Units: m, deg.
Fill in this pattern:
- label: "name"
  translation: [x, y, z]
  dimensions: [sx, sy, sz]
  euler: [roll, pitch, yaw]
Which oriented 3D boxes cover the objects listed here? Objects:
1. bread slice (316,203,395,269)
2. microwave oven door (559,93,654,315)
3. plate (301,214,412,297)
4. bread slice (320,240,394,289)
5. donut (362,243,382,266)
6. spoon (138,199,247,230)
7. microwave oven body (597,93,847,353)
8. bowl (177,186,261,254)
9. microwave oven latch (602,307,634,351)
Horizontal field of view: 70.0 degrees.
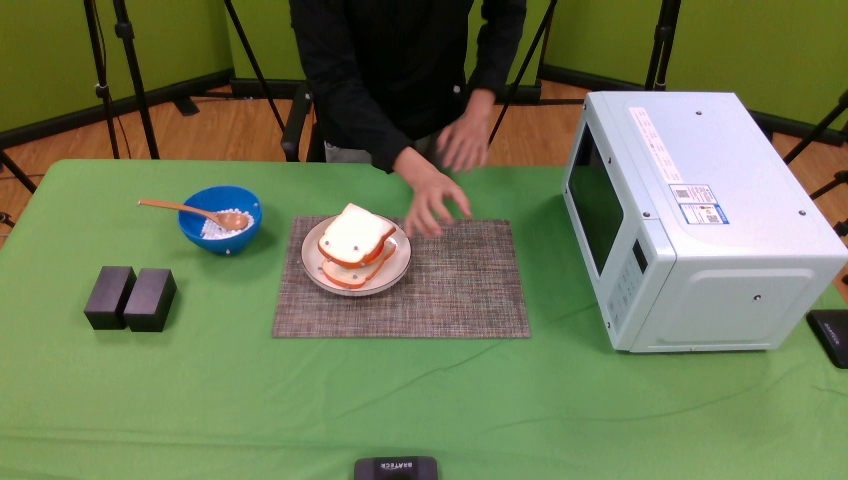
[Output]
- label: "bread slice"
  translation: [-0.128, -0.006, 1.099]
  dimensions: [0.104, 0.019, 0.131]
  euler: [28, 53, 13]
- label: "microwave oven door"
  translation: [0.327, -0.074, 1.123]
  dimensions: [0.039, 0.245, 0.353]
  euler: [-1, 46, -5]
- label: "plate"
  translation: [-0.126, 0.031, 1.146]
  dimensions: [0.208, 0.039, 0.206]
  euler: [2, 46, -2]
- label: "bread slice"
  translation: [-0.129, 0.036, 1.140]
  dimensions: [0.107, 0.018, 0.134]
  euler: [19, 48, 14]
- label: "donut"
  translation: [-0.126, 0.010, 1.127]
  dimensions: [0.099, 0.048, 0.098]
  euler: [4, 45, -3]
- label: "spoon"
  translation: [-0.431, -0.053, 1.136]
  dimensions: [0.194, 0.022, 0.041]
  euler: [15, 48, -20]
- label: "microwave oven body"
  translation: [0.475, -0.041, 1.109]
  dimensions: [0.326, 0.261, 0.438]
  euler: [-1, 45, -4]
- label: "bowl"
  translation: [-0.383, -0.026, 1.157]
  dimensions: [0.151, 0.077, 0.150]
  euler: [2, 46, -2]
- label: "microwave oven latch"
  translation: [0.332, 0.153, 1.043]
  dimensions: [0.030, 0.029, 0.078]
  euler: [0, 45, -4]
